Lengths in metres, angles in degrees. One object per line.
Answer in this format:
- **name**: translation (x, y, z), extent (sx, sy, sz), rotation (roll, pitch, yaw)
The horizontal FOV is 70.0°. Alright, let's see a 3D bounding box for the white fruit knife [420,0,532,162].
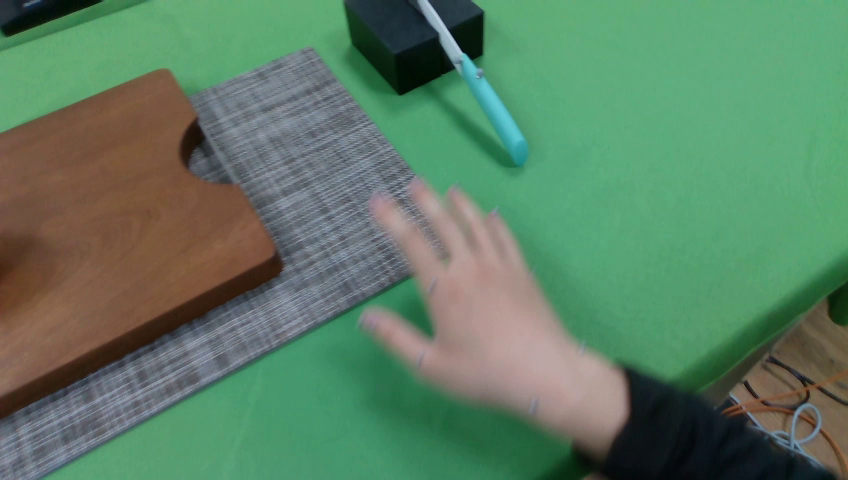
- **white fruit knife**: translation (0.041, -0.161, 0.556), extent (0.016, 0.027, 0.206), rotation (-25, 74, -18)

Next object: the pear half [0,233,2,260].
- **pear half**: translation (-0.339, -0.016, 0.443), extent (0.070, 0.089, 0.031), rotation (35, 64, 27)
